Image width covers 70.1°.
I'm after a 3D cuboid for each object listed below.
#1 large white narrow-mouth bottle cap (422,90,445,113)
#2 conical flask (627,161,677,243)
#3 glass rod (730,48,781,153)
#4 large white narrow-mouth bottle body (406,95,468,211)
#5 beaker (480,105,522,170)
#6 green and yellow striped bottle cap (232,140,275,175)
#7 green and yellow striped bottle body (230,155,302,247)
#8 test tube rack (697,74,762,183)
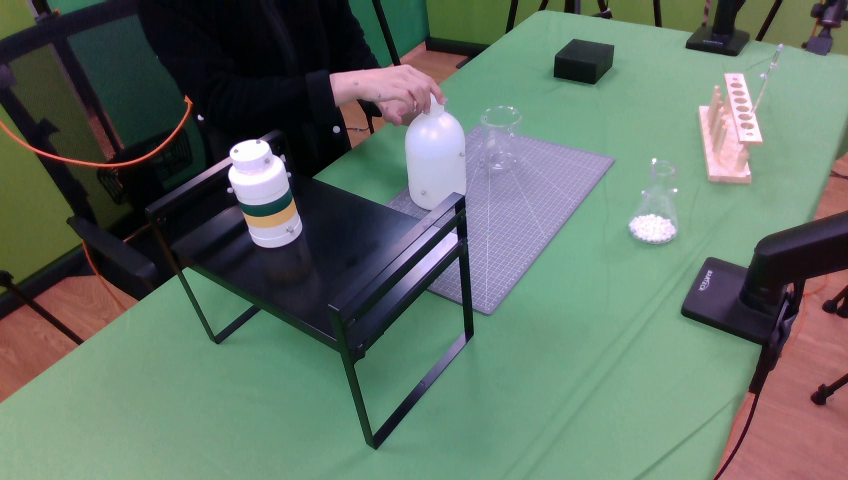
[{"bbox_3d":[0.015,-0.219,0.960,0.038,0.024,0.037,-3,39,3],"label":"large white narrow-mouth bottle cap"},{"bbox_3d":[0.355,-0.061,0.921,0.075,0.122,0.075,-4,41,4],"label":"conical flask"},{"bbox_3d":[0.554,-0.228,1.015,0.008,0.200,0.008,1,44,-1],"label":"glass rod"},{"bbox_3d":[0.021,-0.152,1.014,0.102,0.195,0.101,-3,39,3],"label":"large white narrow-mouth bottle body"},{"bbox_3d":[0.145,-0.187,1.111,0.084,0.101,0.073,-35,48,-29],"label":"beaker"},{"bbox_3d":[-0.192,-0.093,0.680,0.045,0.020,0.045,-5,39,5],"label":"green and yellow striped bottle cap"},{"bbox_3d":[-0.188,-0.055,0.714,0.063,0.120,0.063,-4,41,4],"label":"green and yellow striped bottle body"},{"bbox_3d":[0.547,-0.208,1.095,0.066,0.085,0.242,5,42,15],"label":"test tube rack"}]
